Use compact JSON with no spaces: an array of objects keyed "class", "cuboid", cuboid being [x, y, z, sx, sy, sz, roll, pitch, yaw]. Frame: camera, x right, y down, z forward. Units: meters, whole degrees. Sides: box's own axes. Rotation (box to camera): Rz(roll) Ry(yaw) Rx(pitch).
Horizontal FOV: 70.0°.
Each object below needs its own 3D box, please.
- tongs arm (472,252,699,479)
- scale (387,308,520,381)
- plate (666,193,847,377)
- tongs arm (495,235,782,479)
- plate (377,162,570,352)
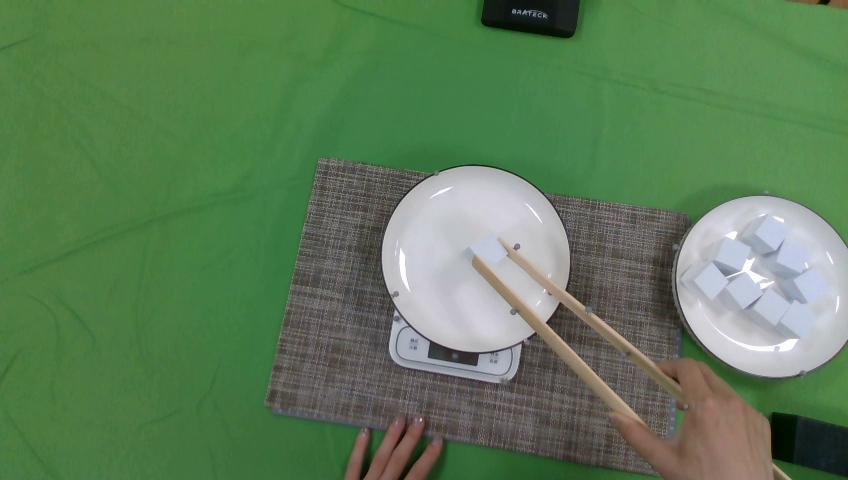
[{"class":"tongs arm","cuboid":[0.176,0.142,0.545,0.028,0.028,0.384,-34,65,-23]},{"class":"scale","cuboid":[0.044,0.052,0.693,0.148,0.031,0.200,10,80,2]},{"class":"plate","cuboid":[0.377,0.051,0.691,0.208,0.039,0.206,0,79,1]},{"class":"tongs arm","cuboid":[0.194,0.130,0.552,0.050,0.027,0.382,-41,67,-21]},{"class":"plate","cuboid":[0.053,0.018,0.666,0.209,0.038,0.208,0,79,0]}]
